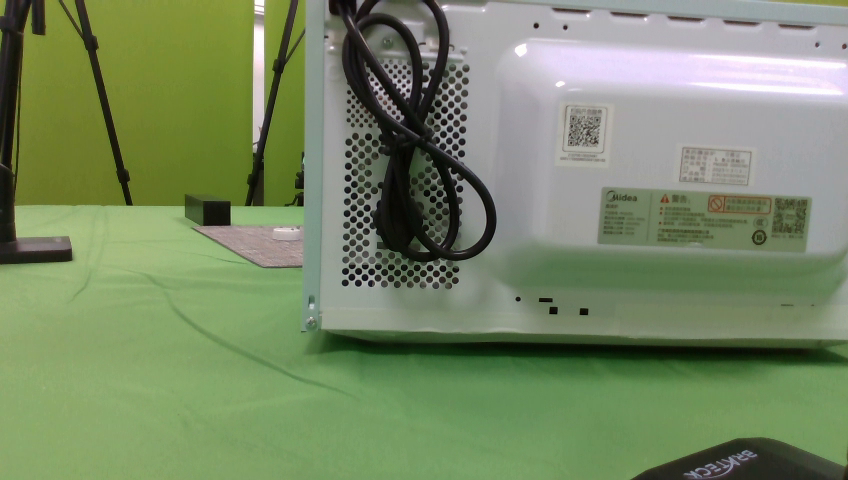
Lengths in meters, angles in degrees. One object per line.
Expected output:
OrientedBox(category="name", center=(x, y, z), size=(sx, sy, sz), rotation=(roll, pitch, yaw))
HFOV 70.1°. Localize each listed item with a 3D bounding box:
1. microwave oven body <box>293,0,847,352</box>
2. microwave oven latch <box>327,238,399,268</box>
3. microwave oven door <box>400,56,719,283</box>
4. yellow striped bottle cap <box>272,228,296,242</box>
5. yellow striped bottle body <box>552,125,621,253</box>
OrientedBox(category="microwave oven body", center=(0.122, -0.055, 0.550), size=(0.442, 0.260, 0.325), rotation=(3, 7, -5))
OrientedBox(category="microwave oven latch", center=(-0.069, 0.015, 0.694), size=(0.079, 0.029, 0.030), rotation=(3, 7, -3))
OrientedBox(category="microwave oven door", center=(0.155, -0.077, 0.698), size=(0.356, 0.243, 0.039), rotation=(2, 8, -5))
OrientedBox(category="yellow striped bottle cap", center=(-0.232, -0.008, 1.012), size=(0.044, 0.018, 0.044), rotation=(3, 9, 0))
OrientedBox(category="yellow striped bottle body", center=(0.157, -0.050, 0.587), size=(0.063, 0.120, 0.063), rotation=(0, 6, 0))
